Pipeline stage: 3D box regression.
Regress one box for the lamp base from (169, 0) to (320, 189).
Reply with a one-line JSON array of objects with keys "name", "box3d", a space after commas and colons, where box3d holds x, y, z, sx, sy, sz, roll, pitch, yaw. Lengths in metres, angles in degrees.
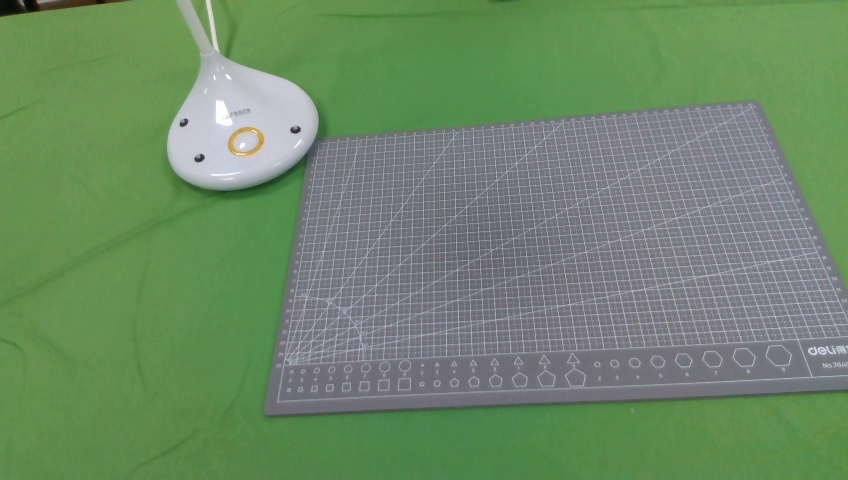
[{"name": "lamp base", "box3d": [-0.206, -0.169, 0.586, 0.161, 0.182, 0.177, -28, 52, -12]}]
